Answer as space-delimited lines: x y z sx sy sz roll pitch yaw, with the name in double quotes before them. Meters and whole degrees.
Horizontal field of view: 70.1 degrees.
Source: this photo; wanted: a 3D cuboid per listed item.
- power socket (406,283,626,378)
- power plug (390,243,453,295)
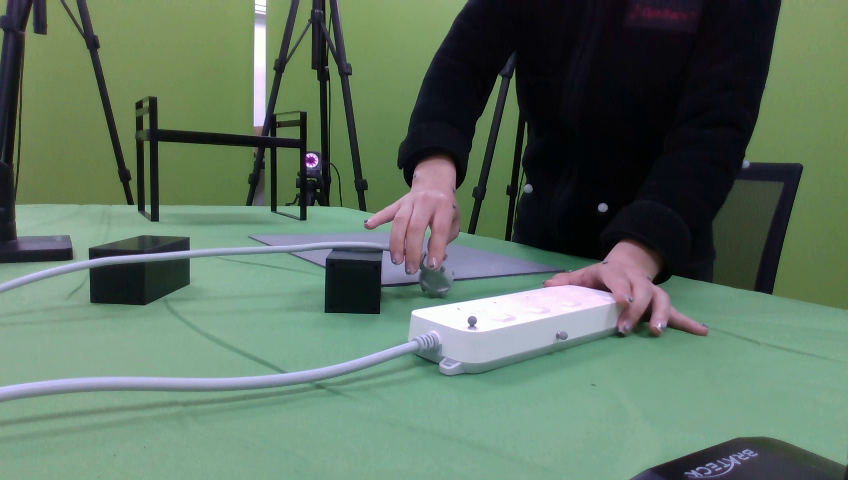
"power socket" 0.082 0.065 0.485 0.228 0.032 0.072 -6 10 -42
"power plug" -0.002 0.028 0.627 0.072 0.052 0.035 37 53 10
